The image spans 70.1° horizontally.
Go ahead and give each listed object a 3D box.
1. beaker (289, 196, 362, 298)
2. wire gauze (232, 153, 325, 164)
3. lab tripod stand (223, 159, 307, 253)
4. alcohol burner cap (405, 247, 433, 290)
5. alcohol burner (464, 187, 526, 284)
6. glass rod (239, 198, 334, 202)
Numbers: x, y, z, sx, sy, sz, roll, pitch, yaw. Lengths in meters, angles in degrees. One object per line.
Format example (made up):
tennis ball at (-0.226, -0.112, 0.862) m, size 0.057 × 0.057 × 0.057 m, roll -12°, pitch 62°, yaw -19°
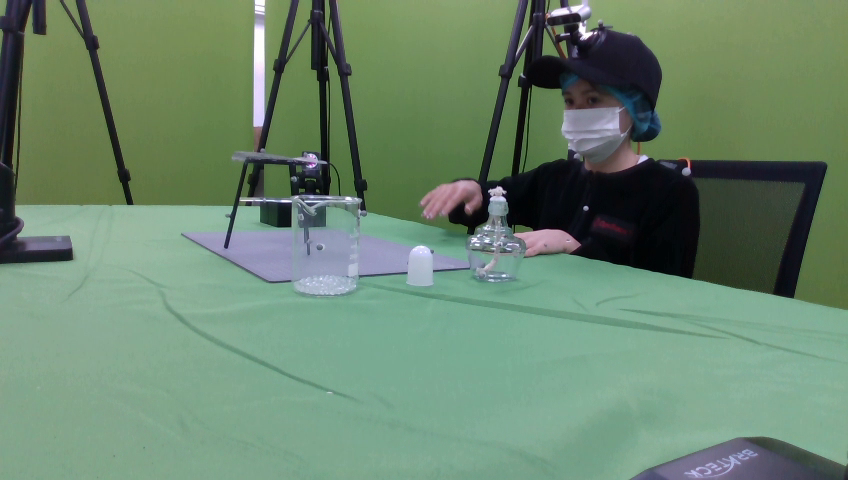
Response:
beaker at (-0.104, 0.006, 0.627) m, size 0.074 × 0.100 × 0.084 m, roll 4°, pitch 8°, yaw 11°
wire gauze at (-0.214, -0.118, 0.881) m, size 0.125 × 0.011 × 0.121 m, roll 0°, pitch 7°, yaw -19°
lab tripod stand at (-0.220, -0.053, 0.896) m, size 0.148 × 0.131 × 0.148 m, roll 1°, pitch 6°, yaw 0°
alcohol burner cap at (-0.005, 0.031, 0.698) m, size 0.034 × 0.048 × 0.034 m, roll 3°, pitch 8°, yaw 0°
alcohol burner at (0.089, -0.007, 0.747) m, size 0.078 × 0.119 × 0.078 m, roll 4°, pitch 9°, yaw 0°
glass rod at (-0.277, -0.081, 1.232) m, size 0.201 × 0.008 × 0.008 m, roll -1°, pitch 8°, yaw -30°
